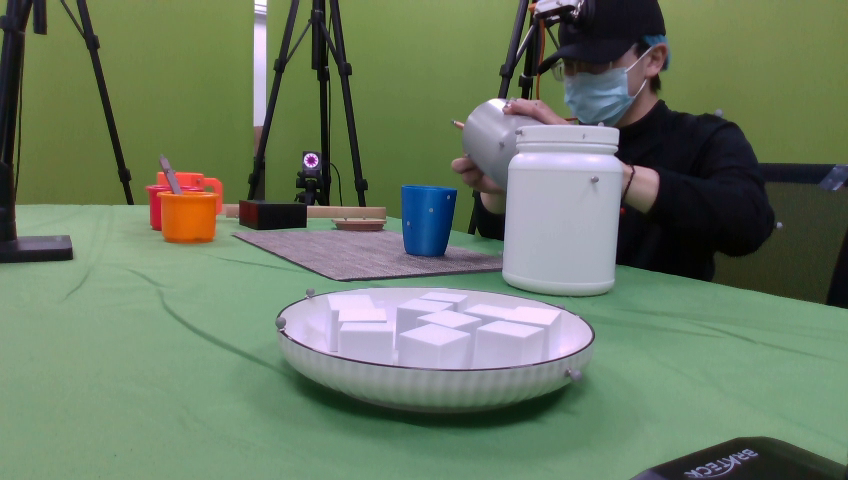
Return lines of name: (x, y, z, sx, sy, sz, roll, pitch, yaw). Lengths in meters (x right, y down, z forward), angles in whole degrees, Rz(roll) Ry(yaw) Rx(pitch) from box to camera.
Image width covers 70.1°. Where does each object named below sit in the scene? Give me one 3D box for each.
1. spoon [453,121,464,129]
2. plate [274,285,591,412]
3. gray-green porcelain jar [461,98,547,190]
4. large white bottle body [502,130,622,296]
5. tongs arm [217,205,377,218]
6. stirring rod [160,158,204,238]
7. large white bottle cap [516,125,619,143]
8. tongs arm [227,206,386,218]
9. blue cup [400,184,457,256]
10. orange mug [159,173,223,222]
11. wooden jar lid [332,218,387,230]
spoon: (0.105, -0.144, 0.888, 0.042, 0.021, 0.192, 12, 21, -43)
plate: (0.005, 0.069, 0.408, 0.208, 0.039, 0.207, 2, 7, 0)
gray-green porcelain jar: (0.124, -0.131, 0.851, 0.106, 0.106, 0.126, -1, 29, -22)
large white bottle body: (0.160, -0.037, 0.707, 0.131, 0.184, 0.130, 2, 7, 0)
tongs arm: (-0.288, -0.068, 1.435, 0.389, 0.027, 0.028, 0, -2, -17)
stirring rod: (-0.390, -0.070, 0.972, 0.014, 0.006, 0.175, -2, 50, -49)
large white bottle cap: (0.164, -0.120, 0.695, 0.115, 0.018, 0.115, 2, 8, 0)
tongs arm: (-0.251, -0.063, 1.360, 0.387, 0.026, 0.050, -1, 2, -31)
blue cup: (0.004, -0.030, 0.901, 0.093, 0.100, 0.092, 4, 9, 0)
orange mug: (-0.477, -0.089, 1.241, 0.127, 0.101, 0.083, -7, 11, -33)
wooden jar lid: (-0.129, -0.032, 1.204, 0.108, 0.020, 0.108, 0, 5, 0)
